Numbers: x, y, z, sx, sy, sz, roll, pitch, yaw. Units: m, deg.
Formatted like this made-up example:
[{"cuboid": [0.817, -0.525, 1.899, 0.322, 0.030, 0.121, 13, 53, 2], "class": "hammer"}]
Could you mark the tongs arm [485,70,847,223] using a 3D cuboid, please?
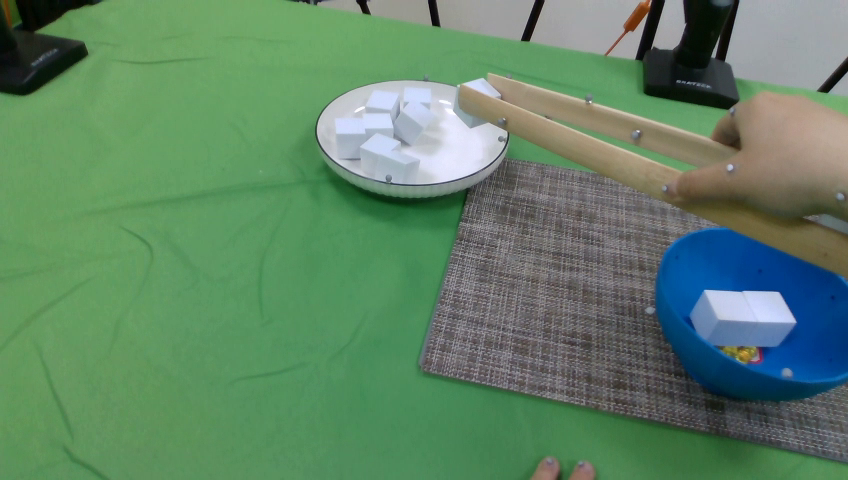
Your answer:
[{"cuboid": [0.171, -0.068, 0.450, 0.051, 0.027, 0.381, -29, 42, -32], "class": "tongs arm"}]

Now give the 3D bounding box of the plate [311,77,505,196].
[{"cuboid": [-0.017, -0.111, 0.659, 0.209, 0.038, 0.207, 2, 43, -2], "class": "plate"}]

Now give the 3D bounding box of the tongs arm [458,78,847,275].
[{"cuboid": [0.152, -0.059, 0.439, 0.028, 0.028, 0.383, -23, 39, -31], "class": "tongs arm"}]

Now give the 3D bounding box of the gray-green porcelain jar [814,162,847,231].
[{"cuboid": [0.434, -0.036, 0.554, 0.106, 0.127, 0.105, 2, 44, -2], "class": "gray-green porcelain jar"}]

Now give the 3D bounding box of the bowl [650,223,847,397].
[{"cuboid": [0.241, 0.065, 0.465, 0.151, 0.077, 0.150, 3, 43, -2], "class": "bowl"}]
